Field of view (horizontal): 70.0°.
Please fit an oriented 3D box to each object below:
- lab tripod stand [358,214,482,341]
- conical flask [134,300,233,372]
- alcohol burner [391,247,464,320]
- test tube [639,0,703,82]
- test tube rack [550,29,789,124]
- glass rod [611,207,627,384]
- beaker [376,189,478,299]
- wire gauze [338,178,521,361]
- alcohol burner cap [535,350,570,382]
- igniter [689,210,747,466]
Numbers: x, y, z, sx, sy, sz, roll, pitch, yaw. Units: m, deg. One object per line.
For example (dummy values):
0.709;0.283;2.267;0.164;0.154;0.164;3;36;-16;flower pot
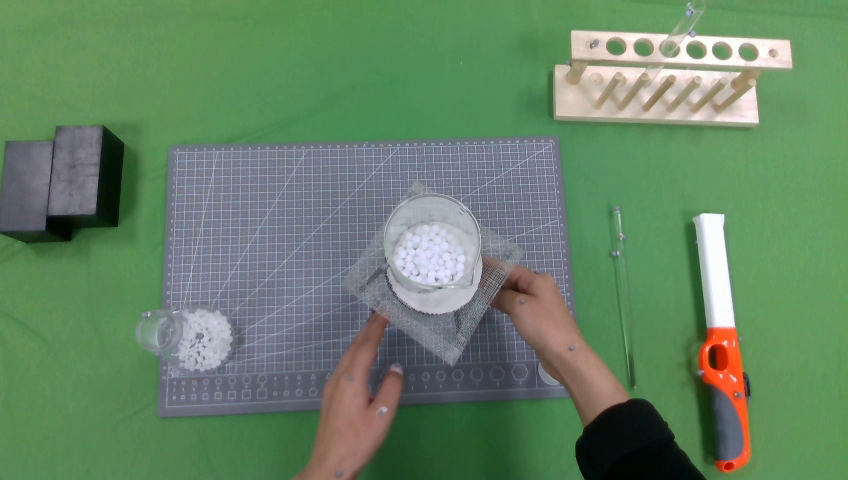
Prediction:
0.002;0.036;0.607;0.148;0.132;0.147;0;79;-1;lab tripod stand
-0.238;0.090;0.591;0.075;0.122;0.075;1;77;-2;conical flask
0.003;0.041;0.616;0.078;0.119;0.077;0;79;0;alcohol burner
0.259;-0.210;0.648;0.017;0.151;0.017;0;77;1;test tube
0.274;-0.185;0.693;0.242;0.085;0.066;2;77;-2;test tube rack
0.219;0.060;0.678;0.008;0.008;0.199;0;80;-3;glass rod
0.004;0.010;0.496;0.074;0.100;0.083;-41;82;-9;beaker
0.006;0.024;0.542;0.125;0.011;0.121;35;81;3;wire gauze
0.138;0.132;0.639;0.034;0.048;0.033;1;77;-3;alcohol burner cap
0.320;0.102;0.664;0.057;0.025;0.275;3;78;-13;igniter
